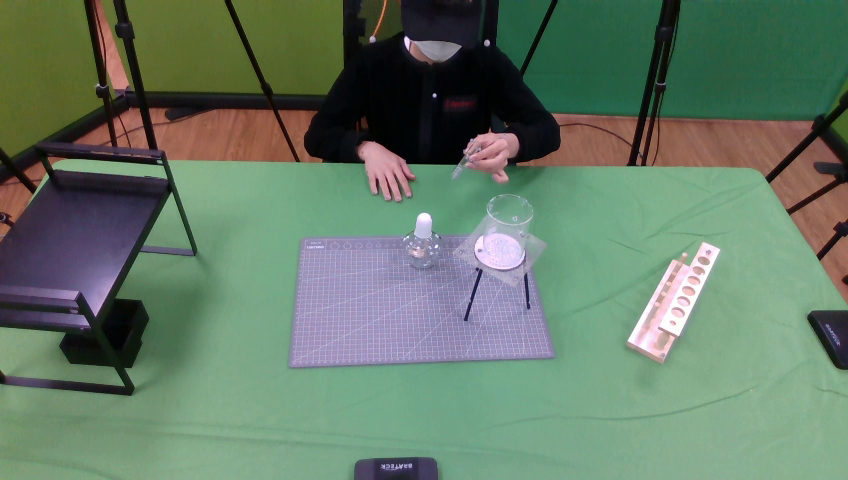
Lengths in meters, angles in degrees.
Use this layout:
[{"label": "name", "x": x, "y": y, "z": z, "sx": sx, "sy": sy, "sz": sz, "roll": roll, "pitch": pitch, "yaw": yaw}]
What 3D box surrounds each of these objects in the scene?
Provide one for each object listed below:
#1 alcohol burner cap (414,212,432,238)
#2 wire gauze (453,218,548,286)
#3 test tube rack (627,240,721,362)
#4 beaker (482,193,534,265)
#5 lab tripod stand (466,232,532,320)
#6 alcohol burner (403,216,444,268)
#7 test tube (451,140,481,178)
[{"label": "alcohol burner cap", "x": 0.000, "y": -0.030, "z": 1.107, "sx": 0.034, "sy": 0.048, "sz": 0.033, "roll": 4, "pitch": 41, "yaw": -3}, {"label": "wire gauze", "x": 0.129, "y": 0.014, "z": 1.018, "sx": 0.124, "sy": 0.011, "sz": 0.121, "roll": 26, "pitch": 47, "yaw": 25}, {"label": "test tube rack", "x": 0.452, "y": 0.098, "z": 1.087, "sx": 0.066, "sy": 0.085, "sz": 0.242, "roll": 28, "pitch": 51, "yaw": 22}, {"label": "beaker", "x": 0.135, "y": -0.016, "z": 0.979, "sx": 0.073, "sy": 0.101, "sz": 0.084, "roll": 35, "pitch": 52, "yaw": 28}, {"label": "lab tripod stand", "x": 0.125, "y": 0.059, "z": 1.065, "sx": 0.148, "sy": 0.132, "sz": 0.147, "roll": 1, "pitch": 45, "yaw": 0}, {"label": "alcohol burner", "x": -0.001, "y": -0.004, "z": 1.132, "sx": 0.078, "sy": 0.120, "sz": 0.077, "roll": 1, "pitch": 46, "yaw": 0}, {"label": "test tube", "x": 0.077, "y": -0.150, "z": 1.141, "sx": 0.017, "sy": 0.150, "sz": 0.017, "roll": 4, "pitch": 73, "yaw": -13}]
